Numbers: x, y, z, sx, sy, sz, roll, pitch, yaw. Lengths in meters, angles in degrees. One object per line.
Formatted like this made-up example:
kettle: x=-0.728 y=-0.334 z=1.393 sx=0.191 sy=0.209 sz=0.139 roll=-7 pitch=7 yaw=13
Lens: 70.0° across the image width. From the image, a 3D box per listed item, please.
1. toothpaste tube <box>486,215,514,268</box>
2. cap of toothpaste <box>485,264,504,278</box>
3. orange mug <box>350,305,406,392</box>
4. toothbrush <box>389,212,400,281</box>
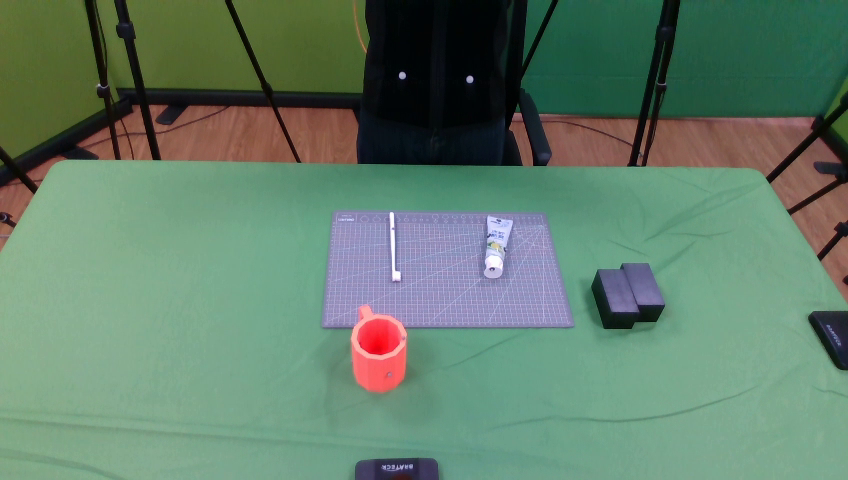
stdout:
toothpaste tube: x=0.147 y=0.005 z=1.197 sx=0.055 sy=0.034 sz=0.164 roll=14 pitch=42 yaw=0
cap of toothpaste: x=0.132 y=0.057 z=1.137 sx=0.037 sy=0.037 sz=0.011 roll=1 pitch=48 yaw=-2
orange mug: x=-0.080 y=0.168 z=0.978 sx=0.083 sy=0.101 sz=0.125 roll=-16 pitch=54 yaw=-18
toothbrush: x=-0.059 y=0.010 z=1.186 sx=0.017 sy=0.014 sz=0.180 roll=1 pitch=46 yaw=-8
